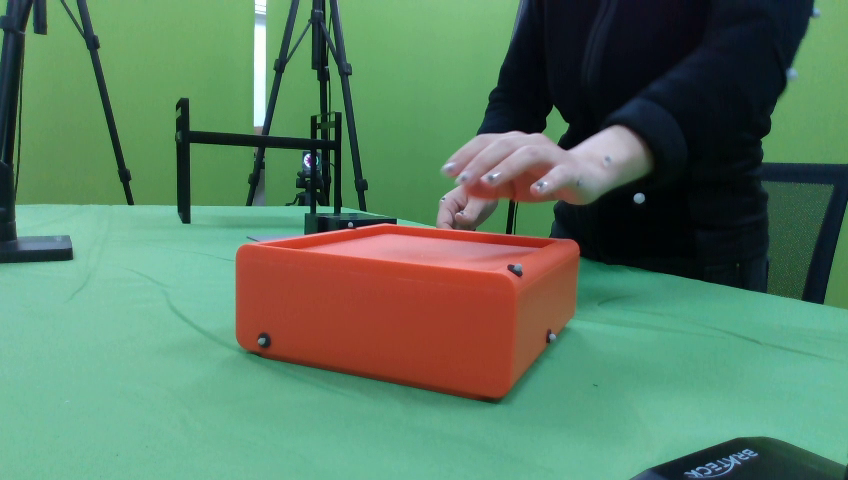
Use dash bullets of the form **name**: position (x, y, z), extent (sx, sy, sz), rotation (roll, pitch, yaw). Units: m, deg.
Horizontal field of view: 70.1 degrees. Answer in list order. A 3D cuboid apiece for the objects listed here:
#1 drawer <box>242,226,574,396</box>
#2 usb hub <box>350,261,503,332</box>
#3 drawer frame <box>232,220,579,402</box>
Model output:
- **drawer**: position (0.002, 0.041, 0.478), extent (0.194, 0.073, 0.212), rotation (6, 10, 23)
- **usb hub**: position (0.001, 0.046, 0.510), extent (0.124, 0.025, 0.050), rotation (16, 2, 28)
- **drawer frame**: position (0.001, 0.038, 0.475), extent (0.201, 0.082, 0.214), rotation (6, 9, 22)
